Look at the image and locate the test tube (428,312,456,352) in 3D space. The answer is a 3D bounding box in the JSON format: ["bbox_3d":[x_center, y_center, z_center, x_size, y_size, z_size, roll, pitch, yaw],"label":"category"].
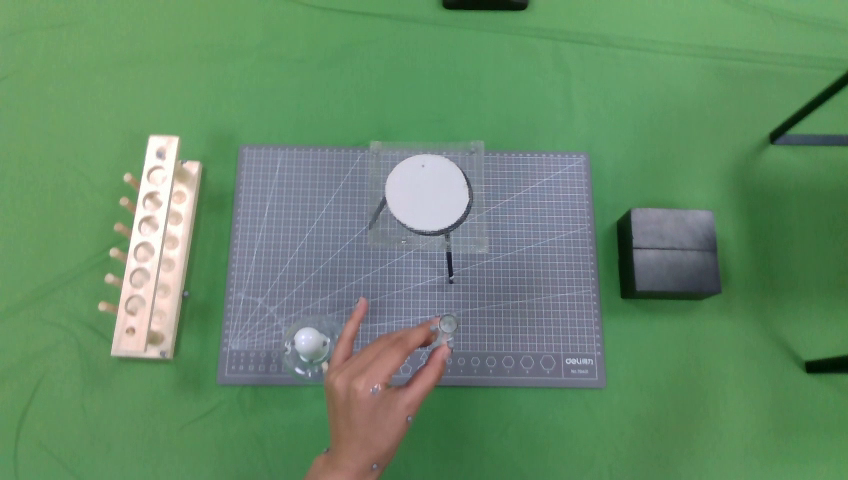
[{"bbox_3d":[0.014,0.083,0.531,0.017,0.151,0.017,1,73,-2],"label":"test tube"}]

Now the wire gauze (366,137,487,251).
[{"bbox_3d":[0.003,-0.050,0.623,0.125,0.011,0.121,2,75,-2],"label":"wire gauze"}]

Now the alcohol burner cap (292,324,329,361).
[{"bbox_3d":[-0.118,0.103,0.618,0.034,0.048,0.033,-1,69,2],"label":"alcohol burner cap"}]

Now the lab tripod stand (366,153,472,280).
[{"bbox_3d":[0.004,-0.036,0.688,0.148,0.132,0.147,1,73,-2],"label":"lab tripod stand"}]

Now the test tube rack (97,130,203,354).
[{"bbox_3d":[-0.315,0.003,0.689,0.067,0.085,0.241,4,75,-2],"label":"test tube rack"}]

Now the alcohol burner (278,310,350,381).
[{"bbox_3d":[-0.120,0.112,0.653,0.078,0.119,0.077,1,75,-4],"label":"alcohol burner"}]
